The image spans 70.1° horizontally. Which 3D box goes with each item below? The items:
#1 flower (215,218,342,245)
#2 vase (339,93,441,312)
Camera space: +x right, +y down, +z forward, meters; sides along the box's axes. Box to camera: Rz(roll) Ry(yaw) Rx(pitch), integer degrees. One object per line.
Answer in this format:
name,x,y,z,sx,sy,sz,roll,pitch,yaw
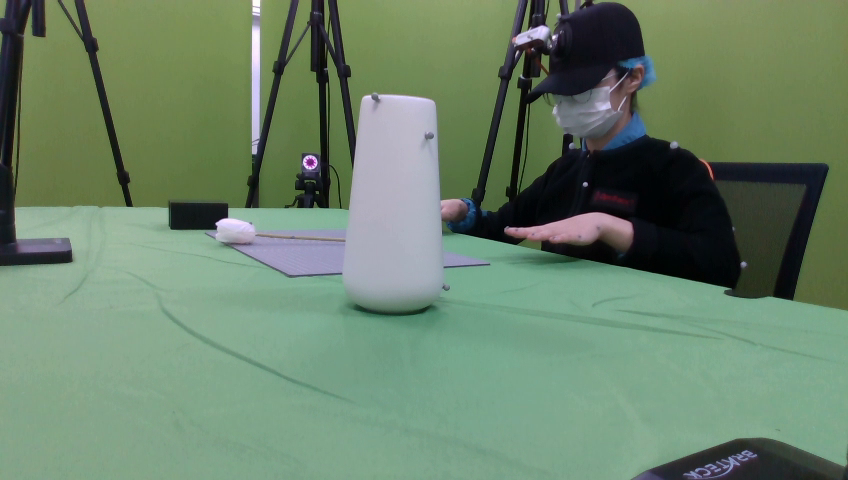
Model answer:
flower,-0.152,-0.001,0.993,0.363,0.038,0.044,5,-31,-17
vase,-0.032,-0.035,0.577,0.098,0.200,0.098,0,7,0
